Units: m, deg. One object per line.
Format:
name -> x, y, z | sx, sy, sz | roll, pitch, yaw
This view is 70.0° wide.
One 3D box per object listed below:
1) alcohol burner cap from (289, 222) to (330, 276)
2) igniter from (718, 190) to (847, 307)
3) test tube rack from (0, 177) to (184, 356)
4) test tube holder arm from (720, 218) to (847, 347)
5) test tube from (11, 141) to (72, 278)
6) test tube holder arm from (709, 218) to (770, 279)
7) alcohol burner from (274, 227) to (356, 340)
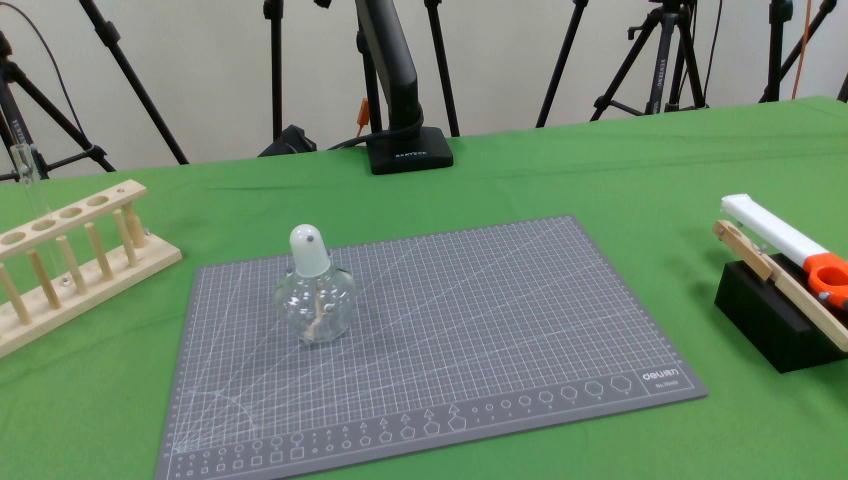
alcohol burner cap -> -0.104, 0.005, 0.544 | 0.034, 0.048, 0.033 | -4, 37, 3
igniter -> 0.363, 0.022, 0.551 | 0.057, 0.025, 0.273 | -9, 32, -8
test tube rack -> -0.381, 0.029, 0.621 | 0.066, 0.086, 0.242 | 23, 42, 32
test tube holder arm -> 0.320, 0.031, 0.548 | 0.013, 0.015, 0.176 | -3, 34, -13
test tube -> -0.385, -0.027, 0.613 | 0.017, 0.151, 0.017 | -1, 29, 1
test tube holder arm -> 0.305, 0.007, 0.582 | 0.010, 0.015, 0.087 | -3, 34, -13
alcohol burner -> -0.103, 0.035, 0.565 | 0.078, 0.120, 0.077 | 0, 36, 1
